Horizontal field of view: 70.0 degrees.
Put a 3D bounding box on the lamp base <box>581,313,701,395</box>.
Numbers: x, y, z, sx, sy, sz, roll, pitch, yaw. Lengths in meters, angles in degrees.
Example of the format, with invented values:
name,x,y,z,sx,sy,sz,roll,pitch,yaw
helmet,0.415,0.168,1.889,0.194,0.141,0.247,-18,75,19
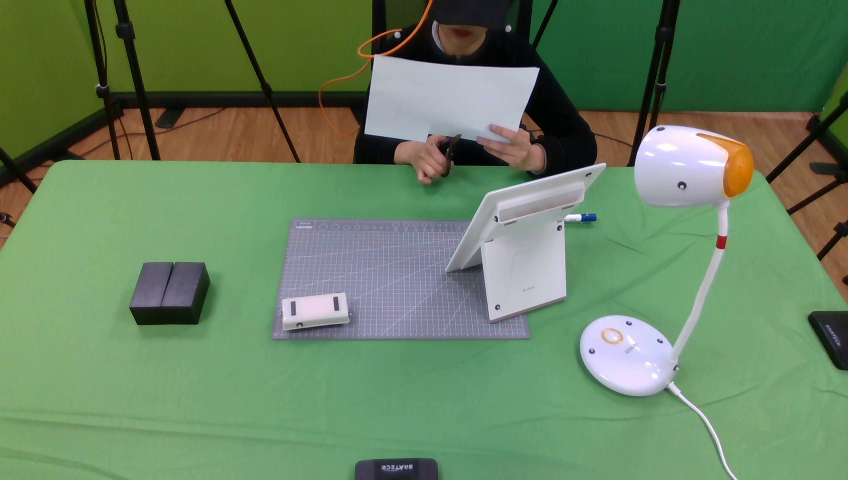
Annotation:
name,x,y,z,sx,sy,sz,roll,pitch,yaw
lamp base,0.361,0.144,0.973,0.178,0.181,0.160,34,53,23

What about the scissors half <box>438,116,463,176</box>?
name,x,y,z,sx,sy,sz,roll,pitch,yaw
scissors half,0.057,-0.192,1.254,0.013,0.176,0.040,-6,56,-19

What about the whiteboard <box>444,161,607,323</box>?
name,x,y,z,sx,sy,sz,roll,pitch,yaw
whiteboard,0.186,0.025,1.029,0.217,0.306,0.143,-14,68,-18

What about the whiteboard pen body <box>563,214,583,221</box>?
name,x,y,z,sx,sy,sz,roll,pitch,yaw
whiteboard pen body,0.283,-0.047,1.257,0.141,0.017,0.017,-1,46,-2

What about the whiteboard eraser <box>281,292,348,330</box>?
name,x,y,z,sx,sy,sz,roll,pitch,yaw
whiteboard eraser,-0.189,0.124,1.045,0.113,0.042,0.055,-6,46,-10

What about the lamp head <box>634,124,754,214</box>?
name,x,y,z,sx,sy,sz,roll,pitch,yaw
lamp head,0.351,-0.089,0.776,0.112,0.113,0.122,-30,30,-28

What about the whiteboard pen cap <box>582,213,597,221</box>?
name,x,y,z,sx,sy,sz,roll,pitch,yaw
whiteboard pen cap,0.342,-0.048,1.260,0.033,0.018,0.018,-3,46,-3

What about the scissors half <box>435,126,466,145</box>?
name,x,y,z,sx,sy,sz,roll,pitch,yaw
scissors half,0.054,-0.217,1.259,0.013,0.040,0.174,-2,10,-17
